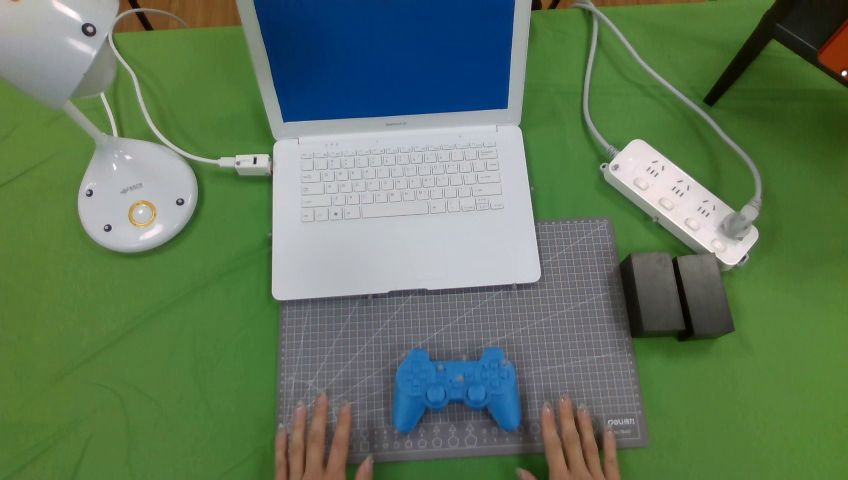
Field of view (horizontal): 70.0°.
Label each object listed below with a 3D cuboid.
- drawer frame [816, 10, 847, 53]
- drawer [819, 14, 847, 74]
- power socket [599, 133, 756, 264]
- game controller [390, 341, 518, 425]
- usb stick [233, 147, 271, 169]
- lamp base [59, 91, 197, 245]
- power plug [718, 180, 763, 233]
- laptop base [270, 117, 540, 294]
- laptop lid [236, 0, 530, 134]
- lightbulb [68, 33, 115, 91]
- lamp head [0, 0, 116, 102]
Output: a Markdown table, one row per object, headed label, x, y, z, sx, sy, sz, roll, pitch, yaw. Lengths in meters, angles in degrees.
| label | x | y | z | sx | sy | sz | roll | pitch | yaw |
| --- | --- | --- | --- | --- | --- | --- | --- | --- | --- |
| drawer frame | 0.586 | -0.237 | 0.662 | 0.200 | 0.083 | 0.213 | 41 | 76 | 13 |
| drawer | 0.584 | -0.233 | 0.662 | 0.193 | 0.073 | 0.211 | 41 | 76 | 13 |
| power socket | 0.342 | -0.058 | 0.819 | 0.225 | 0.033 | 0.072 | 43 | 77 | 13 |
| game controller | 0.036 | 0.171 | 0.733 | 0.155 | 0.052 | 0.096 | 0 | 67 | 0 |
| usb stick | -0.230 | -0.112 | 0.834 | 0.059 | 0.027 | 0.021 | 0 | 66 | -3 |
| lamp base | -0.400 | -0.104 | 0.757 | 0.160 | 0.181 | 0.178 | -33 | 72 | -10 |
| power plug | 0.415 | -0.037 | 0.787 | 0.072 | 0.053 | 0.035 | -34 | 74 | -12 |
| laptop base | -0.031 | -0.050 | 0.826 | 0.354 | 0.023 | 0.234 | -4 | 74 | -1 |
| laptop lid | -0.044 | -0.241 | 0.778 | 0.357 | 0.244 | 0.013 | -5 | 47 | 0 |
| lightbulb | -0.311 | -0.170 | 0.501 | 0.059 | 0.109 | 0.059 | -22 | 48 | 27 |
| lamp head | -0.333 | -0.188 | 0.487 | 0.124 | 0.112 | 0.112 | 29 | 68 | -35 |
